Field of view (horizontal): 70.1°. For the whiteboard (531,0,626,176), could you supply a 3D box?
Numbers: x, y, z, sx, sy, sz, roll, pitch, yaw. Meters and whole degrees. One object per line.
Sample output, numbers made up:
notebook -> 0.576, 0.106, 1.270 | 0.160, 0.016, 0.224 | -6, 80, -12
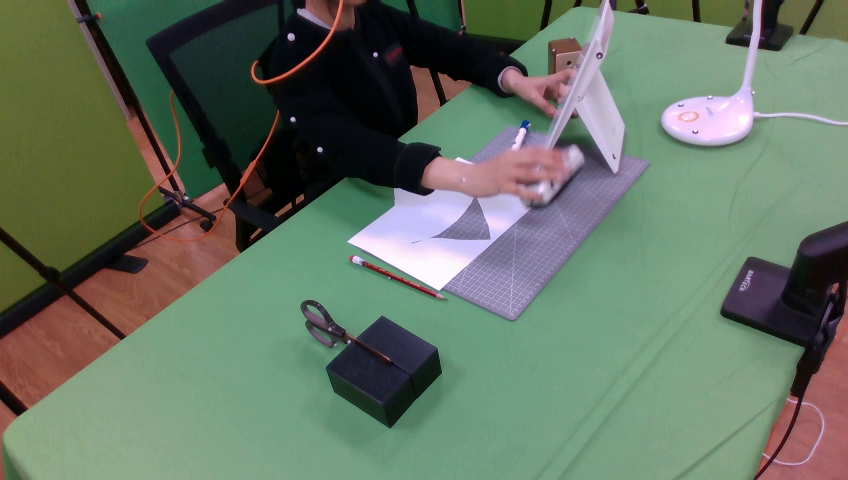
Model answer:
whiteboard -> 0.320, -0.258, 1.050 | 0.144, 0.306, 0.217 | 22, 45, 5

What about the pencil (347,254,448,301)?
pencil -> -0.044, 0.058, 0.933 | 0.192, 0.012, 0.012 | 22, 49, 28

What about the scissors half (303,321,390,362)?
scissors half -> -0.104, 0.138, 0.803 | 0.174, 0.040, 0.013 | 8, 28, 44

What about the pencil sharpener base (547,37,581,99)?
pencil sharpener base -> 0.300, -0.368, 1.290 | 0.061, 0.107, 0.076 | -8, 40, 3

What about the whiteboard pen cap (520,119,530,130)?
whiteboard pen cap -> 0.200, -0.227, 1.204 | 0.018, 0.018, 0.033 | 6, 43, 17

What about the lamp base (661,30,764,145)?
lamp base -> 0.535, -0.287, 1.096 | 0.179, 0.181, 0.159 | -10, 40, -4

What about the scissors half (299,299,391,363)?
scissors half -> -0.107, 0.120, 0.794 | 0.174, 0.040, 0.013 | 26, 45, 32

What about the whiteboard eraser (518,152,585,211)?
whiteboard eraser -> 0.198, -0.089, 0.927 | 0.113, 0.042, 0.055 | -46, 21, -27

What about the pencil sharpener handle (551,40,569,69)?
pencil sharpener handle -> 0.291, -0.409, 1.321 | 0.036, 0.068, 0.030 | 3, 40, -7

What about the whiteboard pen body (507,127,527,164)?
whiteboard pen body -> 0.181, -0.189, 1.163 | 0.017, 0.017, 0.140 | 7, 42, 19
